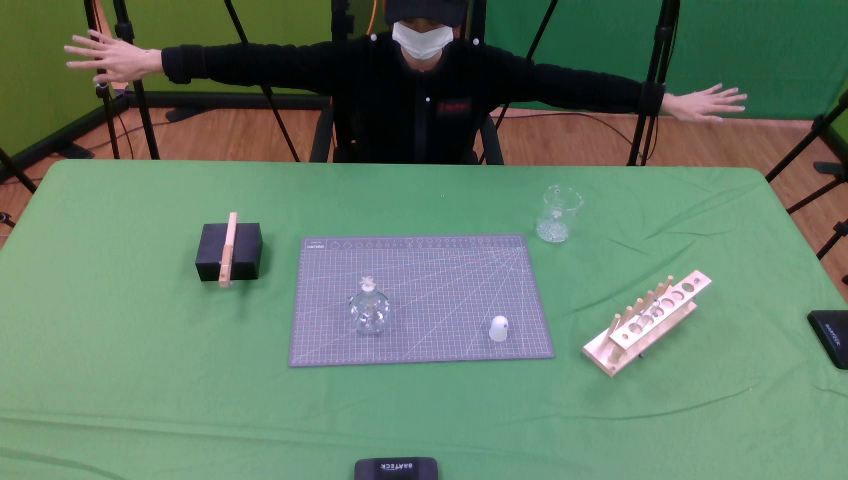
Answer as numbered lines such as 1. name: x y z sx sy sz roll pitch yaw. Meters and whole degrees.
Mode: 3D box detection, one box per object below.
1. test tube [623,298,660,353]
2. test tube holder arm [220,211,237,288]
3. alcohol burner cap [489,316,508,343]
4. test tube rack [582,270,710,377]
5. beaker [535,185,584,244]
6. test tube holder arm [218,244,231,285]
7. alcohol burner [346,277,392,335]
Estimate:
1. test tube: 0.344 0.140 0.976 0.017 0.151 0.017 3 50 -4
2. test tube holder arm: -0.353 0.013 1.093 0.015 0.013 0.177 -3 47 -6
3. alcohol burner cap: 0.130 0.151 1.045 0.034 0.048 0.033 2 46 -2
4. test tube rack: 0.389 0.132 1.057 0.242 0.085 0.066 -28 54 -28
5. beaker: 0.268 -0.048 1.213 0.084 0.101 0.073 6 46 0
6. test tube holder arm: -0.347 0.042 1.058 0.015 0.010 0.087 -3 46 -6
7. alcohol burner: -0.093 0.106 1.021 0.078 0.120 0.077 1 46 -1
